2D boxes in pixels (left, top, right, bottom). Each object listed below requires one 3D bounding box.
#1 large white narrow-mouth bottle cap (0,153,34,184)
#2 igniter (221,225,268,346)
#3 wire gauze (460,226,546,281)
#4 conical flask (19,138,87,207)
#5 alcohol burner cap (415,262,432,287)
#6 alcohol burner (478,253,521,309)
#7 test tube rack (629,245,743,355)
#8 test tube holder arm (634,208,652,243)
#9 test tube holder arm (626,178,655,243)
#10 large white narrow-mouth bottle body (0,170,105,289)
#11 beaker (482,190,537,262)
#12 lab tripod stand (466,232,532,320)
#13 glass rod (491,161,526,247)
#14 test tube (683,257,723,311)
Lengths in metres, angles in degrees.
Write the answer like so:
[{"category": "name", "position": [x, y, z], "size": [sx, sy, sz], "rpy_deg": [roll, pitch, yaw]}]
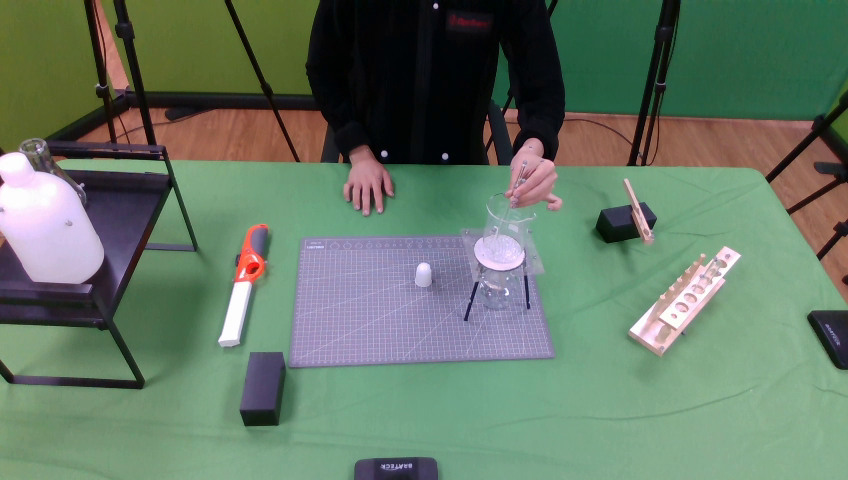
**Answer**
[{"category": "large white narrow-mouth bottle cap", "position": [-0.510, -0.089, 0.755], "size": [0.038, 0.024, 0.037], "rpy_deg": [2, 46, -2]}, {"category": "igniter", "position": [-0.323, 0.072, 1.100], "size": [0.057, 0.025, 0.274], "rpy_deg": [-6, 45, 5]}, {"category": "wire gauze", "position": [0.130, 0.017, 1.016], "size": [0.121, 0.011, 0.124], "rpy_deg": [-4, 43, -9]}, {"category": "conical flask", "position": [-0.576, -0.097, 0.930], "size": [0.075, 0.122, 0.075], "rpy_deg": [2, 46, -2]}, {"category": "alcohol burner cap", "position": [0.000, 0.061, 1.119], "size": [0.034, 0.048, 0.033], "rpy_deg": [2, 45, -2]}, {"category": "alcohol burner", "position": [0.134, 0.067, 1.072], "size": [0.078, 0.120, 0.077], "rpy_deg": [0, 47, 0]}, {"category": "test tube rack", "position": [0.474, 0.095, 1.091], "size": [0.242, 0.085, 0.066], "rpy_deg": [-34, 56, -31]}, {"category": "test tube holder arm", "position": [0.428, -0.030, 1.189], "size": [0.010, 0.015, 0.087], "rpy_deg": [3, 47, -3]}, {"category": "test tube holder arm", "position": [0.434, -0.062, 1.220], "size": [0.013, 0.015, 0.177], "rpy_deg": [3, 47, -3]}, {"category": "large white narrow-mouth bottle body", "position": [-0.513, -0.029, 0.818], "size": [0.102, 0.195, 0.101], "rpy_deg": [2, 46, -2]}, {"category": "beaker", "position": [0.136, -0.019, 0.983], "size": [0.084, 0.101, 0.073], "rpy_deg": [17, 47, 14]}, {"category": "lab tripod stand", "position": [0.125, 0.060, 1.065], "size": [0.148, 0.132, 0.147], "rpy_deg": [1, 45, 0]}, {"category": "glass rod", "position": [0.129, -0.050, 0.935], "size": [0.008, 0.200, 0.008], "rpy_deg": [5, 52, -6]}, {"category": "test tube", "position": [0.475, 0.080, 1.037], "size": [0.017, 0.151, 0.017], "rpy_deg": [1, 51, -1]}]
